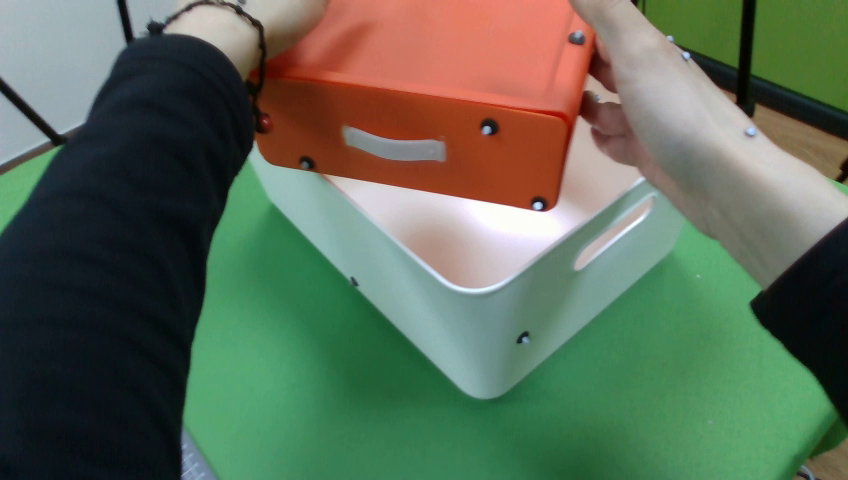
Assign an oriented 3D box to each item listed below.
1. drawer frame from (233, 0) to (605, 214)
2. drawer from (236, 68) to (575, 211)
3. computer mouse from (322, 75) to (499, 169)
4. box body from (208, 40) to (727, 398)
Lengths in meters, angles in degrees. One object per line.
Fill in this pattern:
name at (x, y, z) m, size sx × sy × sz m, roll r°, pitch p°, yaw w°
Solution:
drawer frame at (0.013, -0.132, 0.420) m, size 0.201 × 0.083 × 0.212 m, roll 11°, pitch 49°, yaw 13°
drawer at (0.013, -0.127, 0.419) m, size 0.194 × 0.074 × 0.210 m, roll 11°, pitch 49°, yaw 14°
computer mouse at (-0.008, -0.079, 0.403) m, size 0.117 × 0.041 × 0.062 m, roll 7°, pitch 46°, yaw 6°
box body at (0.020, -0.071, 0.535) m, size 0.254 × 0.162 × 0.360 m, roll -35°, pitch 53°, yaw -22°
